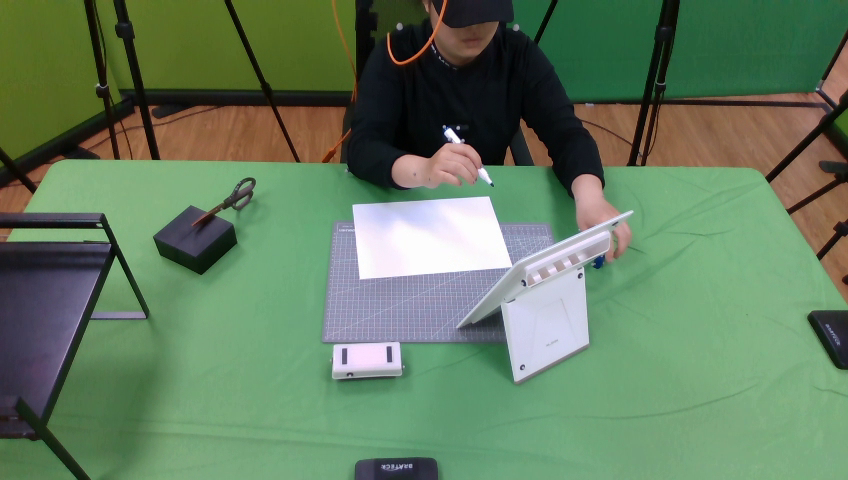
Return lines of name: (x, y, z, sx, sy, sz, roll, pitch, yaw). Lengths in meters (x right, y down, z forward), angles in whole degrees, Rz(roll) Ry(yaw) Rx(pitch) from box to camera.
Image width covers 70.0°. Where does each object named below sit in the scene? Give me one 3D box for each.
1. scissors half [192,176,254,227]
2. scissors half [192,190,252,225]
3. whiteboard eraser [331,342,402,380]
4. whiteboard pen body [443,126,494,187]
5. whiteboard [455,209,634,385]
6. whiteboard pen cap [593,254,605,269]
scissors half: (-0.388, -0.075, 1.174, 0.013, 0.040, 0.174, 29, 47, 8)
scissors half: (-0.393, -0.060, 1.187, 0.013, 0.040, 0.175, 25, 29, 12)
whiteboard eraser: (-0.094, 0.198, 0.986, 0.113, 0.042, 0.055, -2, 44, -6)
whiteboard pen body: (0.080, -0.149, 1.086, 0.017, 0.017, 0.140, -32, 78, -30)
whiteboard: (0.211, 0.111, 0.955, 0.217, 0.306, 0.143, -21, 71, -23)
whiteboard pen cap: (0.341, 0.041, 1.179, 0.018, 0.033, 0.018, 0, 47, 0)
